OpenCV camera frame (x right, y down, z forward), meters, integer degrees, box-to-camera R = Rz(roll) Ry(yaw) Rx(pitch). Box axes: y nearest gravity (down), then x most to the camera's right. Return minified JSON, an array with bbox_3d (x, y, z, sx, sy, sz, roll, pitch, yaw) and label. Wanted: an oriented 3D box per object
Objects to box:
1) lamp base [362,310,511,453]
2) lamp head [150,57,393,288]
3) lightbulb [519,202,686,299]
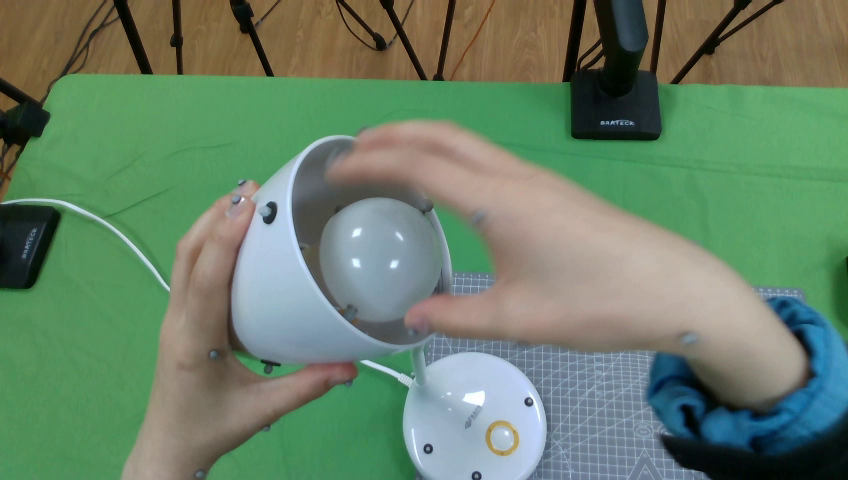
[{"bbox_3d":[0.002,0.125,0.619,0.178,0.181,0.160,16,69,12],"label":"lamp base"},{"bbox_3d":[-0.091,-0.021,0.331,0.113,0.122,0.111,16,64,-35],"label":"lamp head"},{"bbox_3d":[0.110,0.002,0.385,0.107,0.060,0.059,14,67,35],"label":"lightbulb"}]
